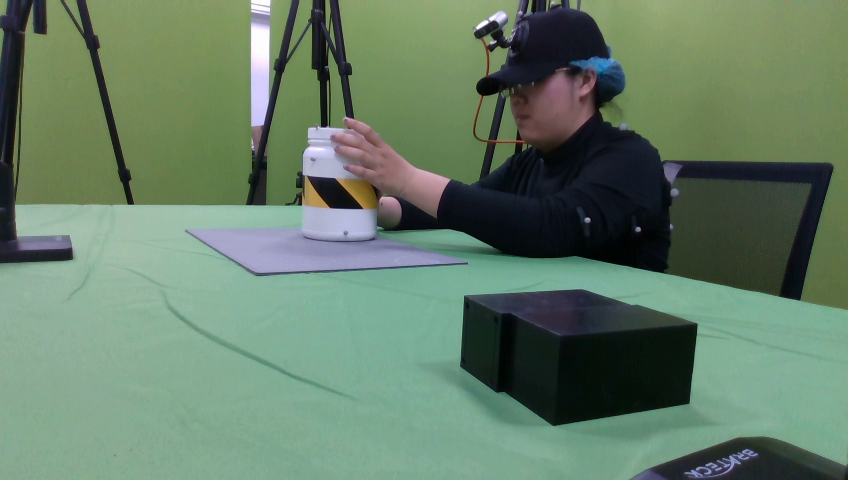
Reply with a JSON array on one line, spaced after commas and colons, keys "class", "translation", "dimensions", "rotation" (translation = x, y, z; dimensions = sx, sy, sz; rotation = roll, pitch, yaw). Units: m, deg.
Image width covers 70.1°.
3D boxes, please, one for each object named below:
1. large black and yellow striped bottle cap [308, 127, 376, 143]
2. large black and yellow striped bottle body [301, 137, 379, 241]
[{"class": "large black and yellow striped bottle cap", "translation": [-0.141, -0.179, 1.035], "dimensions": [0.115, 0.019, 0.115], "rotation": [4, 8, 0]}, {"class": "large black and yellow striped bottle body", "translation": [-0.144, -0.095, 1.045], "dimensions": [0.131, 0.184, 0.130], "rotation": [3, 8, 0]}]
